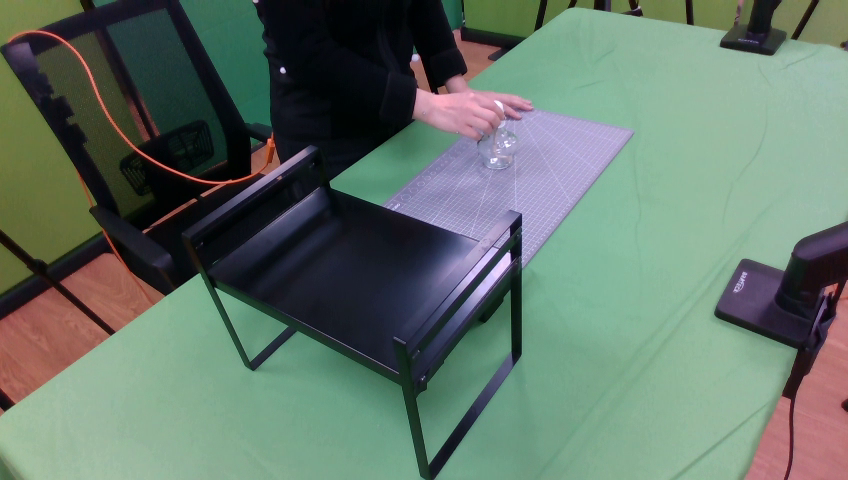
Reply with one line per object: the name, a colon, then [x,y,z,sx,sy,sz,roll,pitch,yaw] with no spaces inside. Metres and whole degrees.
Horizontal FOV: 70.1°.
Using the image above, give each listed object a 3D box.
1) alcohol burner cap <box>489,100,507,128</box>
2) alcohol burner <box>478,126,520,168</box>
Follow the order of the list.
alcohol burner cap: [0.131,-0.227,1.076,0.034,0.048,0.033,-6,43,6]
alcohol burner: [0.137,-0.193,1.106,0.078,0.119,0.077,-5,39,4]
